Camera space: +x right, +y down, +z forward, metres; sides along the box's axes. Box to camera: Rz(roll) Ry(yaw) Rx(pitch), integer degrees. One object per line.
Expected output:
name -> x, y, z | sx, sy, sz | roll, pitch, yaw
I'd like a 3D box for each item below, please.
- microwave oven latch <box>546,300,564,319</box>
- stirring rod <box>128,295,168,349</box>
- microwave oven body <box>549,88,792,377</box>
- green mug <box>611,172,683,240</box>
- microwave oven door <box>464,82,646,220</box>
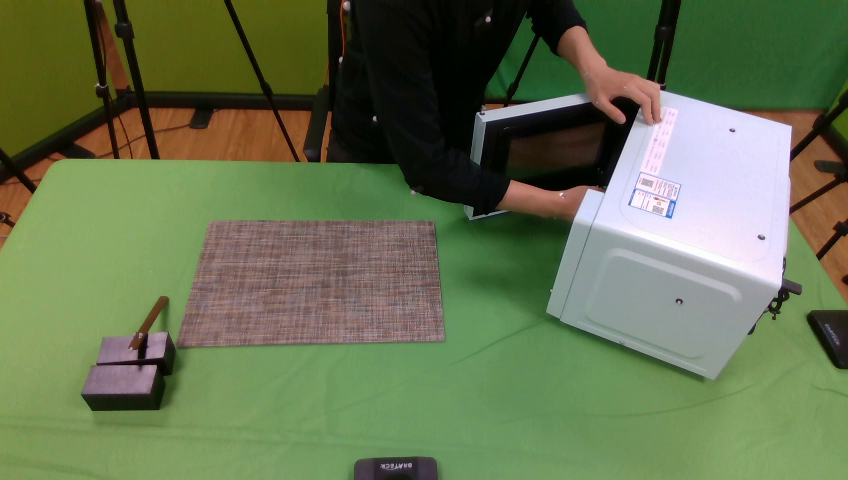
microwave oven latch -> 0.242, 0.102, 1.081 | 0.030, 0.029, 0.079 | 22, 48, 17
stirring rod -> -0.451, 0.131, 0.996 | 0.014, 0.006, 0.175 | 8, 21, -10
microwave oven body -> 0.456, -0.028, 1.088 | 0.325, 0.261, 0.440 | 20, 47, 16
green mug -> 0.406, -0.059, 1.120 | 0.125, 0.105, 0.092 | -8, 47, -13
microwave oven door -> 0.258, -0.176, 1.208 | 0.356, 0.245, 0.039 | -14, 48, -16
